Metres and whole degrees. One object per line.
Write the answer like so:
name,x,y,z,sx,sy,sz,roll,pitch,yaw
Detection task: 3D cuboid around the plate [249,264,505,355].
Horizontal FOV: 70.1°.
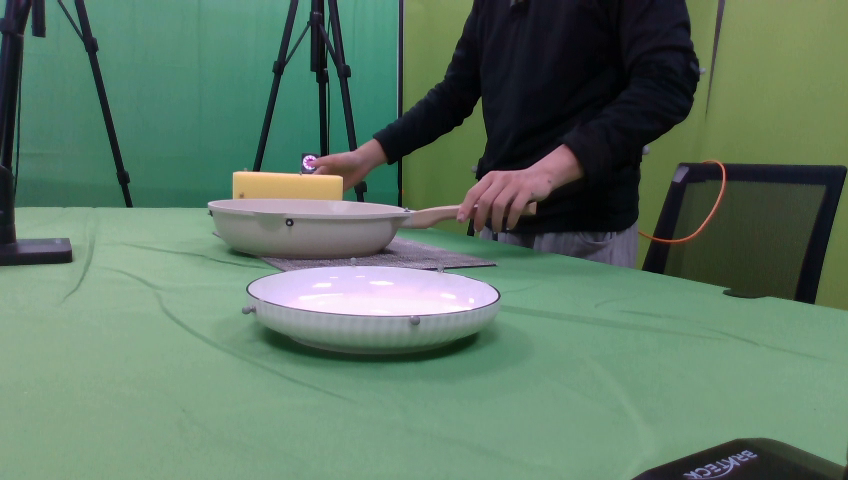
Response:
plate,-0.037,0.056,0.504,0.208,0.039,0.207,2,7,0

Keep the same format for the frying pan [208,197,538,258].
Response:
frying pan,-0.076,-0.034,0.913,0.487,0.102,0.307,-5,7,11

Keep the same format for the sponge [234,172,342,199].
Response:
sponge,-0.273,-0.105,1.223,0.207,0.061,0.118,0,7,-14
